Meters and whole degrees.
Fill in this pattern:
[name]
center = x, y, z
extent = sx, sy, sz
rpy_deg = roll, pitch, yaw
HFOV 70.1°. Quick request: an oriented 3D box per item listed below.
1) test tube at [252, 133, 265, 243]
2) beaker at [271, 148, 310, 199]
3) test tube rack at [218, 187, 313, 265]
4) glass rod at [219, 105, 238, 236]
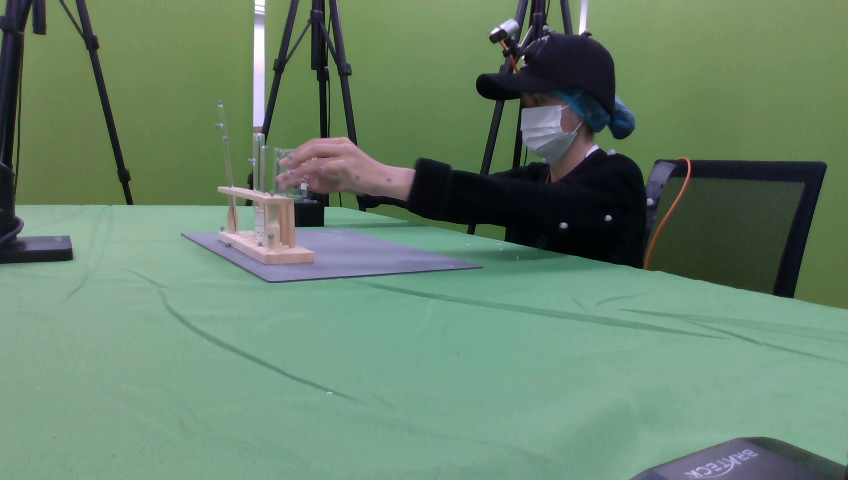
[test tube]
center = -0.226, -0.070, 0.826
extent = 0.017, 0.150, 0.017
rpy_deg = 1, 2, 0
[beaker]
center = -0.277, -0.135, 1.239
extent = 0.074, 0.100, 0.084
rpy_deg = 6, 7, 9
[test tube rack]
center = -0.235, -0.027, 0.872
extent = 0.067, 0.085, 0.241
rpy_deg = -2, 8, -32
[glass rod]
center = -0.294, -0.100, 0.907
extent = 0.008, 0.199, 0.008
rpy_deg = -3, 12, 1
